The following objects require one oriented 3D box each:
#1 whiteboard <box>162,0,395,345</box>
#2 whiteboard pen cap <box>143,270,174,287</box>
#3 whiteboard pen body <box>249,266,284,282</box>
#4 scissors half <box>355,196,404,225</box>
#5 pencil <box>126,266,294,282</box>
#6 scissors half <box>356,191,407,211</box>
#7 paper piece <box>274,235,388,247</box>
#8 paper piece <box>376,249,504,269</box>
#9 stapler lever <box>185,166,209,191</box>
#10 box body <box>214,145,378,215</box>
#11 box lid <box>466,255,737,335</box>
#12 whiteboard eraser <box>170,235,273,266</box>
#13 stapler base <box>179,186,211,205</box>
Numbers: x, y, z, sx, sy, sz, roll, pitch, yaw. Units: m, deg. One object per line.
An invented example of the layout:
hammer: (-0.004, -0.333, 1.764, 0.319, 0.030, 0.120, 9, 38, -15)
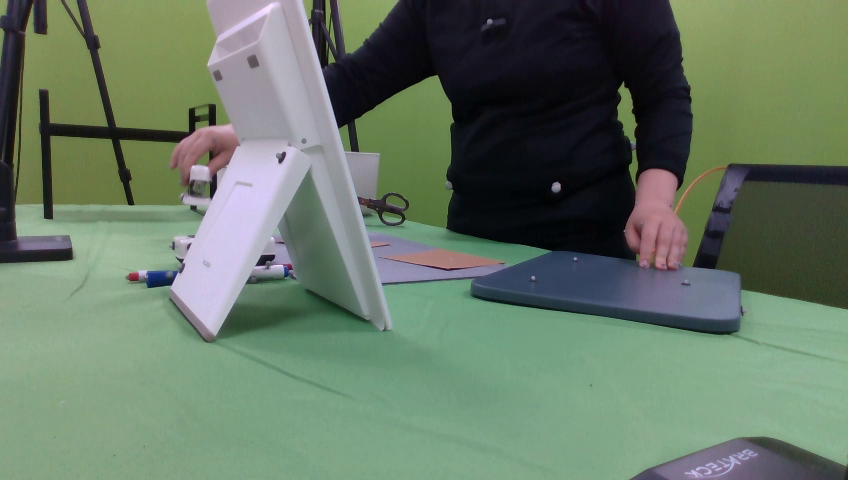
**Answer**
whiteboard: (-0.173, -0.053, 0.510, 0.144, 0.305, 0.216, -23, 19, -26)
whiteboard pen cap: (-0.272, 0.039, 0.626, 0.033, 0.018, 0.018, -2, 9, -33)
whiteboard pen body: (-0.221, 0.039, 0.655, 0.141, 0.017, 0.017, -2, 9, -30)
scissors half: (-0.128, -0.072, 1.320, 0.175, 0.040, 0.013, 22, 4, -5)
pencil: (-0.231, 0.037, 0.688, 0.195, 0.012, 0.012, -2, 9, -33)
scissors half: (-0.124, -0.091, 1.317, 0.175, 0.040, 0.013, 5, 10, -3)
paper piece: (-0.151, 0.003, 0.977, 0.135, 0.008, 0.139, 13, 9, 34)
paper piece: (0.025, 0.026, 0.864, 0.134, 0.004, 0.136, 10, 9, 43)
stapler lever: (-0.357, -0.097, 0.949, 0.027, 0.040, 0.117, 6, 4, -26)
box body: (-0.329, -0.154, 1.543, 0.366, 0.160, 0.253, -2, 9, -32)
box lid: (0.233, 0.055, 0.734, 0.262, 0.015, 0.373, 6, 7, 27)
whiteboard eraser: (-0.249, 0.014, 0.746, 0.113, 0.042, 0.055, -2, 10, -32)
stapler base: (-0.359, -0.072, 0.950, 0.041, 0.024, 0.130, 6, 4, -26)
